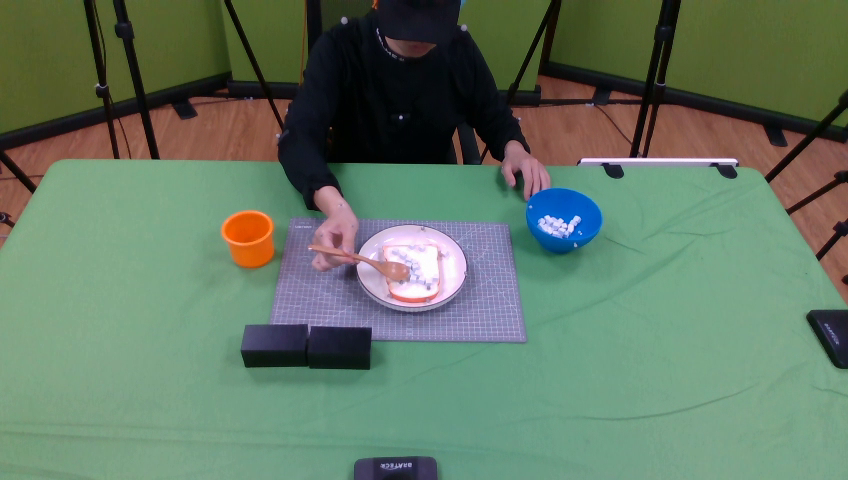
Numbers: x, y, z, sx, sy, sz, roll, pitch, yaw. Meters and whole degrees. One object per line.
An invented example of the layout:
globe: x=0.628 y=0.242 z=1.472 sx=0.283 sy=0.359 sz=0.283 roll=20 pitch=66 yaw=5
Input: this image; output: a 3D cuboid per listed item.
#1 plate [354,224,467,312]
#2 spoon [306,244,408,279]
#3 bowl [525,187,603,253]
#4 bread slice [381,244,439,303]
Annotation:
plate: x=-0.025 y=0.055 z=1.128 sx=0.209 sy=0.038 sz=0.208 roll=3 pitch=46 yaw=-2
spoon: x=-0.114 y=0.033 z=1.056 sx=0.194 sy=0.021 sz=0.041 roll=20 pitch=43 yaw=-29
bowl: x=0.271 y=-0.028 z=1.206 sx=0.151 sy=0.077 sz=0.150 roll=2 pitch=46 yaw=-2
bread slice: x=-0.022 y=0.060 z=1.126 sx=0.107 sy=0.018 sz=0.133 roll=-4 pitch=46 yaw=-7
